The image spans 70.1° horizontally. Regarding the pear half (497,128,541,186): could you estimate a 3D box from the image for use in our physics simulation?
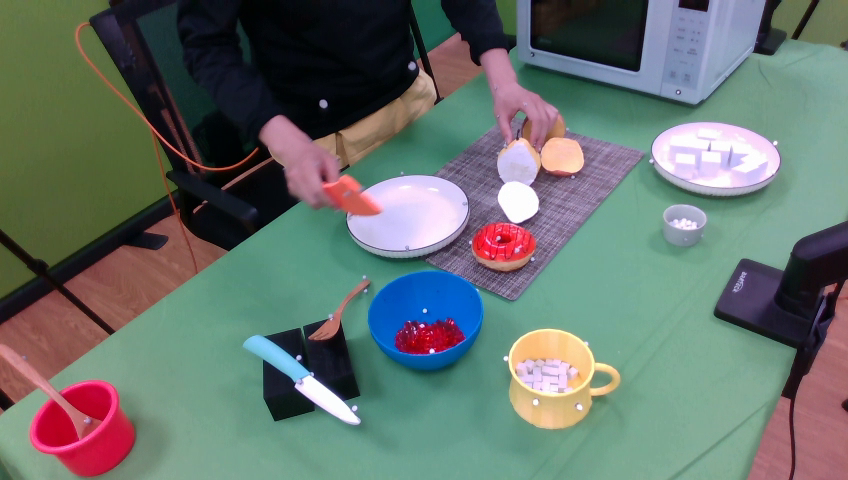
[{"bbox_3d":[0.168,-0.152,1.054,0.076,0.110,0.056,8,41,13],"label":"pear half"}]

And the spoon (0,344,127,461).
[{"bbox_3d":[-0.433,0.191,0.721,0.194,0.021,0.042,47,53,-6],"label":"spoon"}]

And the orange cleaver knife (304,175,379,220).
[{"bbox_3d":[-0.119,-0.058,0.846,0.012,0.077,0.210,-45,22,-17],"label":"orange cleaver knife"}]

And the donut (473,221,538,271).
[{"bbox_3d":[0.123,0.008,0.923,0.099,0.048,0.098,-3,38,3],"label":"donut"}]

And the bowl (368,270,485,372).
[{"bbox_3d":[0.007,0.118,0.791,0.151,0.077,0.150,-5,40,4],"label":"bowl"}]

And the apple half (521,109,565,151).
[{"bbox_3d":[0.224,-0.212,1.145,0.080,0.075,0.053,-6,36,9],"label":"apple half"}]

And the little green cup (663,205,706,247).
[{"bbox_3d":[0.396,-0.021,0.927,0.061,0.039,0.061,-4,40,4],"label":"little green cup"}]

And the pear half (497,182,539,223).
[{"bbox_3d":[0.154,-0.056,1.004,0.070,0.031,0.088,14,57,4],"label":"pear half"}]

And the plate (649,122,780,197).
[{"bbox_3d":[0.497,-0.135,1.046,0.207,0.039,0.206,-4,40,4],"label":"plate"}]

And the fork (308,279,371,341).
[{"bbox_3d":[-0.109,0.093,0.832,0.028,0.018,0.207,-4,19,15],"label":"fork"}]

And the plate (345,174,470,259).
[{"bbox_3d":[-0.026,-0.036,1.004,0.209,0.038,0.208,-4,40,4],"label":"plate"}]

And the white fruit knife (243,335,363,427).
[{"bbox_3d":[-0.147,0.167,0.730,0.206,0.016,0.027,27,80,31],"label":"white fruit knife"}]

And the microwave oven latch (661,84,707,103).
[{"bbox_3d":[0.517,-0.296,1.204,0.078,0.029,0.030,27,52,35],"label":"microwave oven latch"}]

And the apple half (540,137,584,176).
[{"bbox_3d":[0.247,-0.146,1.089,0.081,0.033,0.081,-1,65,4],"label":"apple half"}]

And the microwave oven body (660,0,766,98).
[{"bbox_3d":[0.472,-0.513,1.317,0.438,0.261,0.327,26,51,34],"label":"microwave oven body"}]

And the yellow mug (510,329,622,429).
[{"bbox_3d":[0.168,0.164,0.721,0.130,0.064,0.099,1,40,8],"label":"yellow mug"}]

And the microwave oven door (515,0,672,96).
[{"bbox_3d":[0.343,-0.455,1.259,0.353,0.245,0.039,26,51,33],"label":"microwave oven door"}]
